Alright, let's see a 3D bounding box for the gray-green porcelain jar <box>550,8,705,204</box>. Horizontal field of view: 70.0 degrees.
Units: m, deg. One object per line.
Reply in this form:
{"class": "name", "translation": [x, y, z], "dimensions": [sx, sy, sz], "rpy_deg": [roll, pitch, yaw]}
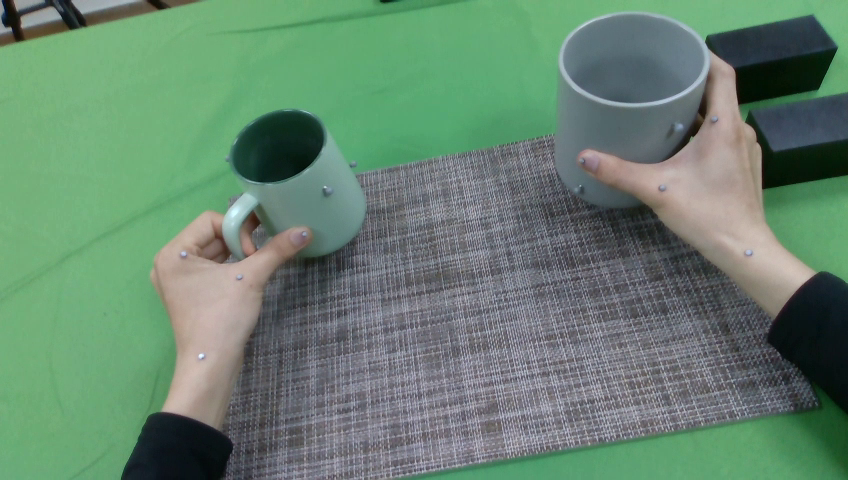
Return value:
{"class": "gray-green porcelain jar", "translation": [0.155, -0.099, 0.484], "dimensions": [0.106, 0.128, 0.105], "rpy_deg": [-5, 55, 7]}

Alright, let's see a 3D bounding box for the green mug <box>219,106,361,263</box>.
{"class": "green mug", "translation": [-0.116, -0.035, 0.503], "dimensions": [0.092, 0.106, 0.125], "rpy_deg": [28, 67, 25]}
